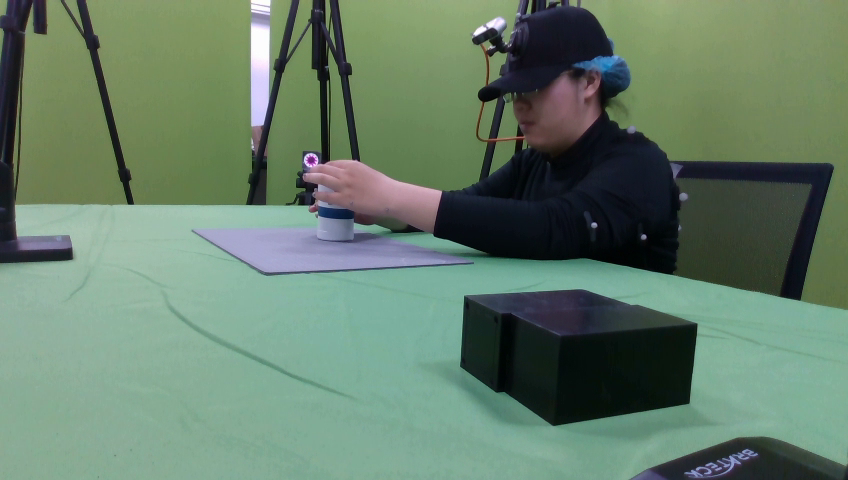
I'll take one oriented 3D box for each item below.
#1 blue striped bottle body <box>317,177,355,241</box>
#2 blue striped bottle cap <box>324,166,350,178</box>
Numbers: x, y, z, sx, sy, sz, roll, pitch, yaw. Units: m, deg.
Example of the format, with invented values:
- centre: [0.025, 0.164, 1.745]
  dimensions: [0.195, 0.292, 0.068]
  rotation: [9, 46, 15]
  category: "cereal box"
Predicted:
- centre: [-0.149, -0.061, 1.024]
  dimensions: [0.063, 0.120, 0.063]
  rotation: [3, 7, 0]
  category: "blue striped bottle body"
- centre: [-0.146, -0.115, 1.017]
  dimensions: [0.044, 0.020, 0.044]
  rotation: [1, 8, 0]
  category: "blue striped bottle cap"
